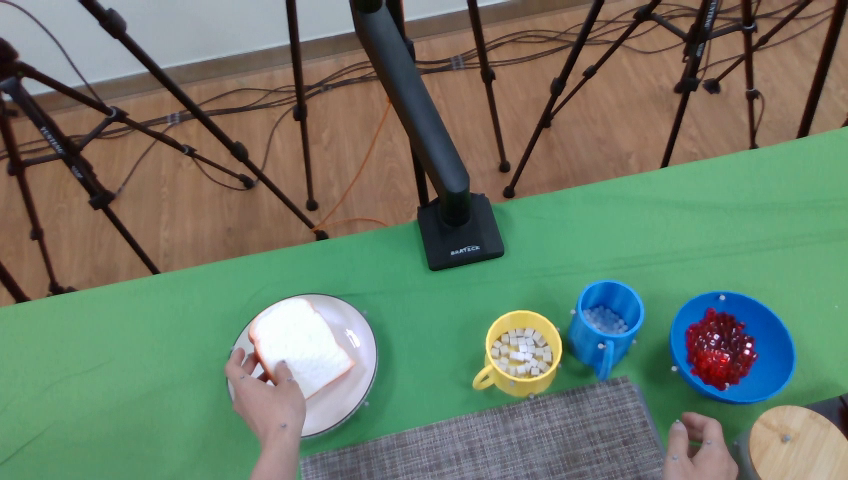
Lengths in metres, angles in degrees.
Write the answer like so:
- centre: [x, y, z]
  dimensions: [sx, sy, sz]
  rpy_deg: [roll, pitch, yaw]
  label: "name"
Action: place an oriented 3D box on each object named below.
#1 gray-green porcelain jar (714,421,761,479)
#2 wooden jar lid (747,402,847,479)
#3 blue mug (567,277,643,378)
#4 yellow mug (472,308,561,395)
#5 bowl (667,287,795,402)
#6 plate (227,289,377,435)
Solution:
- centre: [0.400, 0.260, 0.691]
  dimensions: [0.106, 0.127, 0.105]
  rpy_deg: [-2, 58, 3]
  label: "gray-green porcelain jar"
- centre: [0.394, 0.226, 0.637]
  dimensions: [0.108, 0.021, 0.107]
  rpy_deg: [0, 61, 1]
  label: "wooden jar lid"
- centre: [0.236, 0.124, 0.799]
  dimensions: [0.082, 0.107, 0.115]
  rpy_deg: [5, 59, 8]
  label: "blue mug"
- centre: [0.119, 0.158, 0.811]
  dimensions: [0.131, 0.064, 0.099]
  rpy_deg: [-32, 61, -13]
  label: "yellow mug"
- centre: [0.387, 0.146, 0.790]
  dimensions: [0.151, 0.077, 0.150]
  rpy_deg: [-2, 59, 4]
  label: "bowl"
- centre: [-0.166, 0.169, 0.844]
  dimensions: [0.207, 0.039, 0.205]
  rpy_deg: [-2, 59, 3]
  label: "plate"
